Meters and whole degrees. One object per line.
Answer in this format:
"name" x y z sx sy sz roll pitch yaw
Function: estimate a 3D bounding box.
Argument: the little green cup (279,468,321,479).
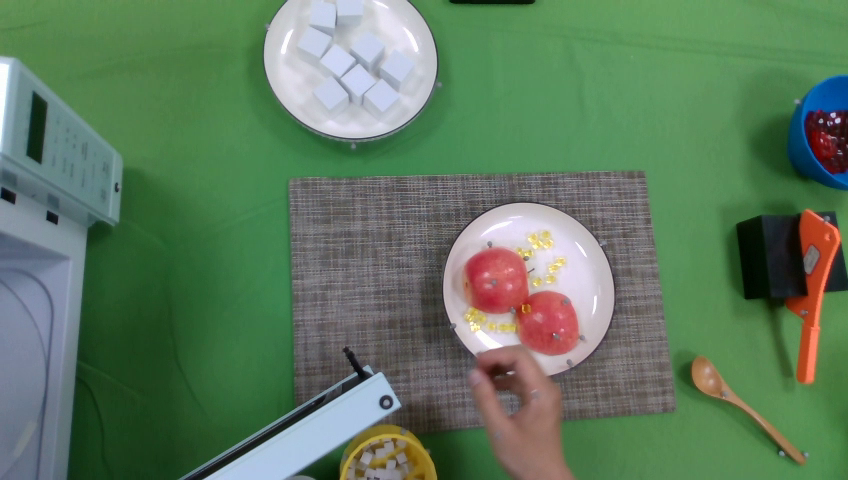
"little green cup" -0.133 0.273 0.645 0.062 0.039 0.061 2 78 -8

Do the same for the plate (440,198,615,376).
"plate" 0.119 0.054 0.715 0.209 0.038 0.208 1 81 -8

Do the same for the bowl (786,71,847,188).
"bowl" 0.532 -0.133 0.787 0.152 0.077 0.151 1 80 -7

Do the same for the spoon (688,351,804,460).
"spoon" 0.393 0.205 0.738 0.193 0.022 0.041 40 59 1

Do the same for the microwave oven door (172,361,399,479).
"microwave oven door" -0.189 0.214 0.526 0.356 0.244 0.039 -30 84 -12

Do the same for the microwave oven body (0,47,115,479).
"microwave oven body" -0.479 0.085 0.513 0.327 0.260 0.440 1 81 -8

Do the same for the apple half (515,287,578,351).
"apple half" 0.146 0.092 0.705 0.081 0.033 0.081 2 77 -7

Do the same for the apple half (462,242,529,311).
"apple half" 0.084 0.041 0.696 0.075 0.053 0.080 -4 81 -6

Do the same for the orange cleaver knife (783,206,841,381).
"orange cleaver knife" 0.466 0.066 0.742 0.012 0.077 0.212 -1 104 -4

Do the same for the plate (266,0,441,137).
"plate" -0.084 -0.221 0.738 0.208 0.039 0.207 1 80 -8

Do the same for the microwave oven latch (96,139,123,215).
"microwave oven latch" -0.345 -0.069 0.656 0.030 0.029 0.079 2 81 -8

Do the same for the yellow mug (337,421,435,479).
"yellow mug" -0.045 0.264 0.644 0.100 0.064 0.130 10 81 -7
